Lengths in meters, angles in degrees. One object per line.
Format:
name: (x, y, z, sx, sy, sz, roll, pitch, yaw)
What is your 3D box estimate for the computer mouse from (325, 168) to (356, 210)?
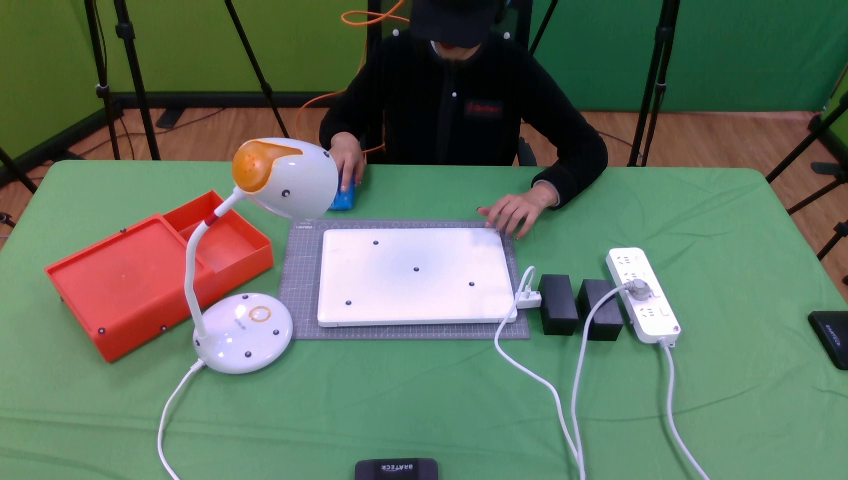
computer mouse: (-0.179, -0.111, 1.283, 0.063, 0.041, 0.116, 4, 49, -1)

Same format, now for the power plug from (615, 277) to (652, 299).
power plug: (0.375, 0.088, 1.097, 0.072, 0.053, 0.035, 5, 46, 2)

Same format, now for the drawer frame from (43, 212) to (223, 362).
drawer frame: (-0.497, 0.073, 1.049, 0.213, 0.083, 0.200, -34, 57, -31)

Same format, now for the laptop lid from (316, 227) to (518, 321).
laptop lid: (-0.016, 0.057, 1.126, 0.357, 0.013, 0.240, 0, 44, -4)

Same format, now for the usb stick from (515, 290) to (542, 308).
usb stick: (0.181, 0.107, 1.089, 0.059, 0.027, 0.021, -6, 47, -4)

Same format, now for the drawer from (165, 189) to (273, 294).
drawer: (-0.419, 0.022, 1.108, 0.193, 0.073, 0.211, 37, 55, 27)

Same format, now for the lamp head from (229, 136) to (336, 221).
lamp head: (-0.196, -0.085, 0.791, 0.112, 0.112, 0.123, 36, 14, 27)

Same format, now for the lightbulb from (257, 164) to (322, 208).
lightbulb: (-0.181, -0.077, 0.810, 0.059, 0.059, 0.108, 36, 11, 27)

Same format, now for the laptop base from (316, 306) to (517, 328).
laptop base: (-0.017, 0.067, 1.133, 0.355, 0.023, 0.234, -1, 42, -5)

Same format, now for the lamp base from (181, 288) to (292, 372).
lamp base: (-0.309, 0.108, 0.959, 0.160, 0.181, 0.179, 29, 55, 22)

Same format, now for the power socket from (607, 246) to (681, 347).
power socket: (0.403, 0.096, 1.123, 0.072, 0.033, 0.225, -3, 47, -5)
